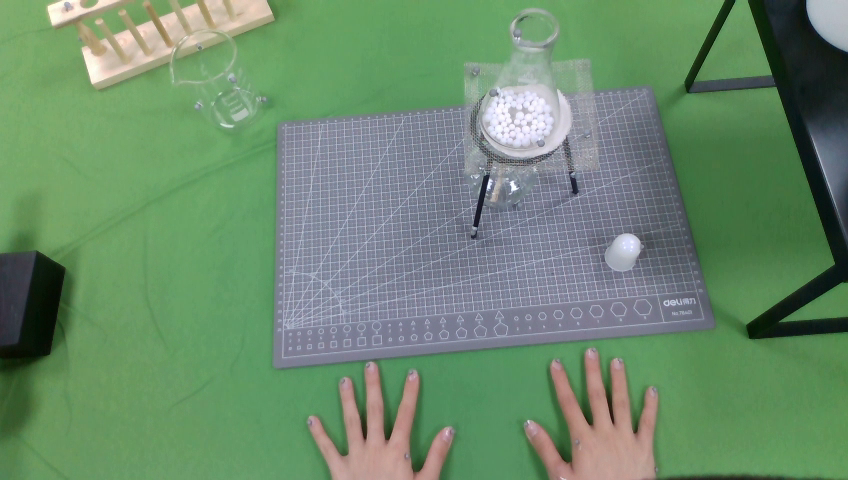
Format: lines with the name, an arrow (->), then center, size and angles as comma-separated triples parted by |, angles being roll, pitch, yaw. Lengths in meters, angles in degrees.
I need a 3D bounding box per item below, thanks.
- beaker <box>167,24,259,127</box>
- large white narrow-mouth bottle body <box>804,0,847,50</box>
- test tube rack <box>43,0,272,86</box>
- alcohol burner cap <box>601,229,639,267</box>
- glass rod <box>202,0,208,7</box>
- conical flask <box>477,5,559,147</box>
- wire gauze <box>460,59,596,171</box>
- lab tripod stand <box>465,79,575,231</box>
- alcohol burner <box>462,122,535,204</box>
beaker -> -0.241, -0.183, 0.701 | 0.073, 0.101, 0.084 | 40, 75, 18
large white narrow-mouth bottle body -> 0.375, -0.237, 0.442 | 0.102, 0.196, 0.101 | -1, 66, 3
test tube rack -> -0.325, -0.287, 0.755 | 0.242, 0.086, 0.066 | -24, 68, -7
alcohol burner cap -> 0.204, 0.005, 0.626 | 0.034, 0.048, 0.033 | -1, 68, 3
glass rod -> -0.284, -0.349, 0.706 | 0.008, 0.201, 0.008 | 1, 66, -1
conical flask -> 0.083, -0.138, 0.506 | 0.075, 0.123, 0.075 | -1, 67, 3
wire gauze -> 0.095, -0.119, 0.562 | 0.121, 0.011, 0.124 | 1, 66, 1
lab tripod stand -> 0.091, -0.090, 0.622 | 0.148, 0.132, 0.147 | -1, 66, 2
alcohol burner -> 0.079, -0.086, 0.632 | 0.078, 0.120, 0.077 | 0, 67, 1
